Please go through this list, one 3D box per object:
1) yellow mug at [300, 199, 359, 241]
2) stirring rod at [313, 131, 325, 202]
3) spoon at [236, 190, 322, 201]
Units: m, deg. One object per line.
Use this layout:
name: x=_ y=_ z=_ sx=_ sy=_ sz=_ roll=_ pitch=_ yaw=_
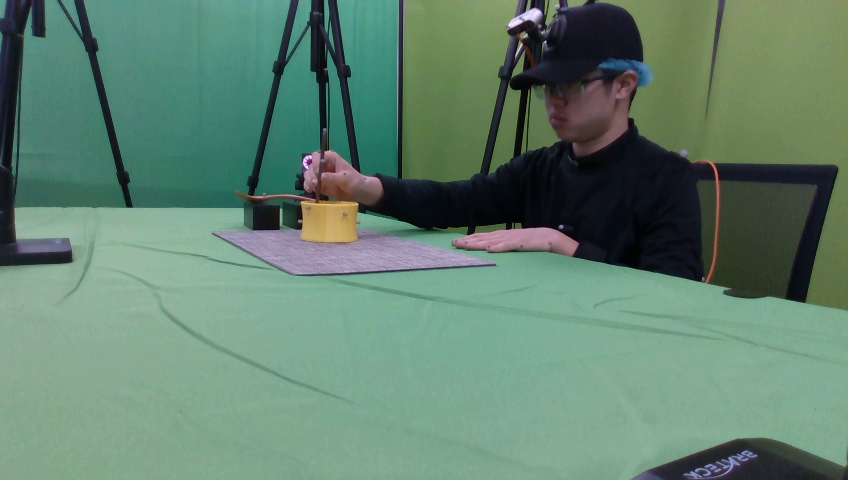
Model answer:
yellow mug: x=-0.156 y=-0.037 z=1.060 sx=0.099 sy=0.064 sz=0.131 roll=6 pitch=7 yaw=27
stirring rod: x=-0.181 y=-0.095 z=1.025 sx=0.006 sy=0.176 sz=0.014 roll=7 pitch=8 yaw=-1
spoon: x=-0.290 y=-0.088 z=1.248 sx=0.195 sy=0.021 sz=0.041 roll=0 pitch=6 yaw=-32
